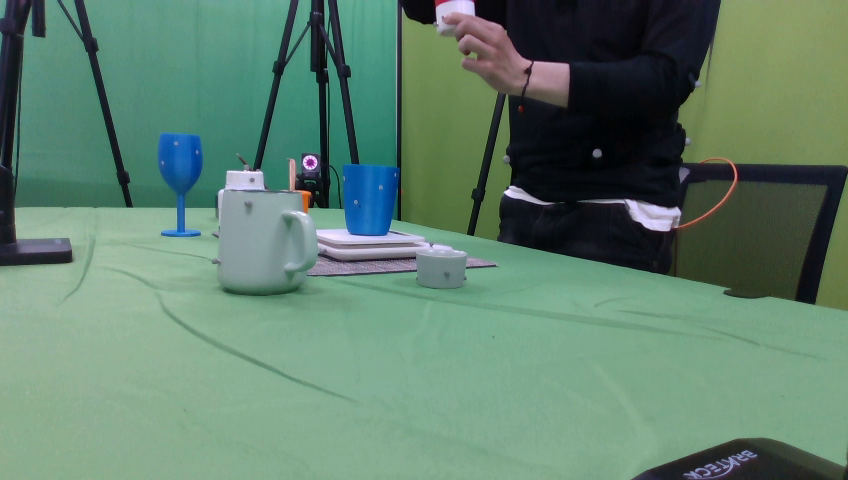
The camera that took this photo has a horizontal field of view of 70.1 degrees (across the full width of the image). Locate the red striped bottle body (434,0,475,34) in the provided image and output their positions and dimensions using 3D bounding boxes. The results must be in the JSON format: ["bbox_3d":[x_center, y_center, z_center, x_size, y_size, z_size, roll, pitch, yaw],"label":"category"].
[{"bbox_3d":[0.045,-0.394,0.957,0.063,0.119,0.063,-6,5,1],"label":"red striped bottle body"}]

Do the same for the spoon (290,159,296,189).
[{"bbox_3d":[-0.273,-0.102,1.252,0.042,0.193,0.021,7,-38,-17],"label":"spoon"}]

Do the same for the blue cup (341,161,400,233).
[{"bbox_3d":[-0.080,-0.062,0.883,0.093,0.100,0.092,2,4,0],"label":"blue cup"}]

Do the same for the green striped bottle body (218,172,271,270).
[{"bbox_3d":[-0.223,-0.025,0.755,0.063,0.119,0.063,1,7,0],"label":"green striped bottle body"}]

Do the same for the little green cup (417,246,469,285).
[{"bbox_3d":[0.021,0.029,0.701,0.061,0.038,0.061,1,6,0],"label":"little green cup"}]

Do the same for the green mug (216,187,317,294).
[{"bbox_3d":[-0.157,0.000,0.629,0.124,0.105,0.093,7,9,37],"label":"green mug"}]

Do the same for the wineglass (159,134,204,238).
[{"bbox_3d":[-0.415,-0.093,1.040,0.074,0.172,0.073,2,7,0],"label":"wineglass"}]

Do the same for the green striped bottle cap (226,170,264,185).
[{"bbox_3d":[-0.222,-0.076,0.748,0.044,0.020,0.044,1,7,0],"label":"green striped bottle cap"}]

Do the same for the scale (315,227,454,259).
[{"bbox_3d":[-0.066,0.001,0.906,0.202,0.031,0.148,-2,8,-31],"label":"scale"}]

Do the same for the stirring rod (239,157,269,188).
[{"bbox_3d":[-0.309,-0.098,1.209,0.006,0.177,0.014,-39,29,-4],"label":"stirring rod"}]
